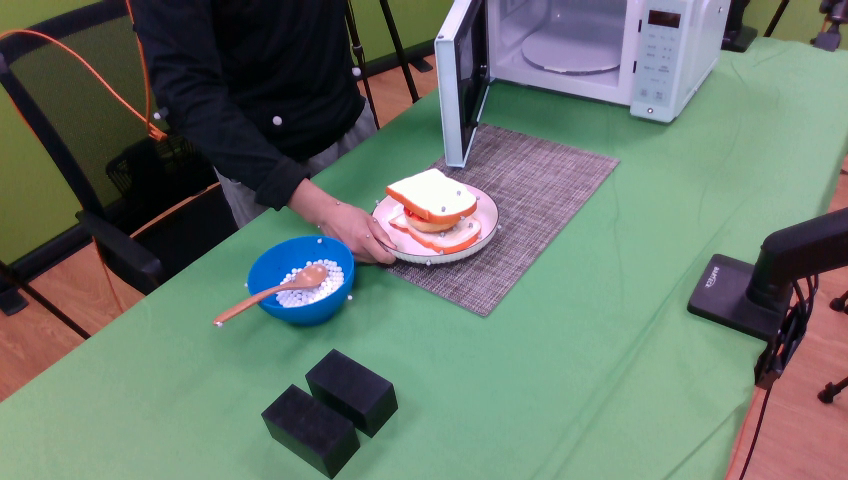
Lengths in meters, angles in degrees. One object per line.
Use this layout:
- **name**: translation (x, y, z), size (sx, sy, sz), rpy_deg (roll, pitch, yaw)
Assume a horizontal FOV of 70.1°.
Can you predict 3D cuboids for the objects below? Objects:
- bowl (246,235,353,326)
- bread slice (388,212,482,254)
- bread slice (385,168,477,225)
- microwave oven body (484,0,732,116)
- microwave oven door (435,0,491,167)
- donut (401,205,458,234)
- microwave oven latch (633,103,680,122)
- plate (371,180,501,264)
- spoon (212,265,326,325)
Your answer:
- **bowl**: translation (-0.170, 0.070, 0.868), size (0.151, 0.077, 0.150), rpy_deg (-4, 41, 4)
- **bread slice**: translation (0.026, -0.025, 0.971), size (0.107, 0.018, 0.133), rpy_deg (-35, 48, -31)
- **bread slice**: translation (0.019, -0.068, 0.935), size (0.105, 0.019, 0.130), rpy_deg (-25, 45, -32)
- **microwave oven body**: translation (0.377, -0.462, 1.267), size (0.438, 0.261, 0.327), rpy_deg (21, 49, 30)
- **microwave oven door**: translation (0.082, -0.339, 1.159), size (0.039, 0.245, 0.355), rpy_deg (4, 42, 13)
- **donut**: translation (0.013, -0.049, 0.955), size (0.099, 0.048, 0.098), rpy_deg (-4, 40, 4)
- **microwave oven latch**: translation (0.443, -0.249, 1.157), size (0.078, 0.029, 0.030), rpy_deg (20, 48, 30)
- **plate**: translation (0.020, -0.027, 0.975), size (0.208, 0.039, 0.206), rpy_deg (-3, 38, 3)
- **spoon**: translation (-0.208, 0.072, 0.822), size (0.041, 0.021, 0.195), rpy_deg (26, 28, 27)
